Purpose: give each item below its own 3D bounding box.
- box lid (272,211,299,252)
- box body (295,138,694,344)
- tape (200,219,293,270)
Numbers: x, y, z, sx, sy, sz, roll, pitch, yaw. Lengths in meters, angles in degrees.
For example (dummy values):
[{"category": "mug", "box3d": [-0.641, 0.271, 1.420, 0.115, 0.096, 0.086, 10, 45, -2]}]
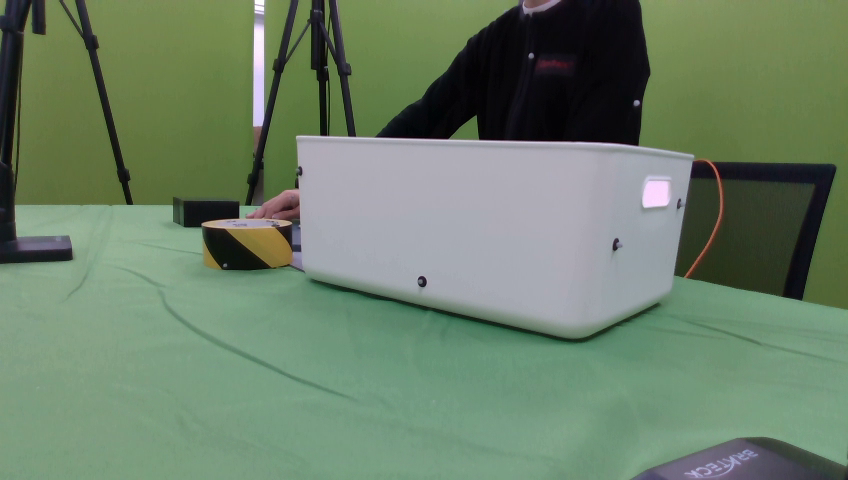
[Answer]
[{"category": "box lid", "box3d": [-0.146, -0.015, 1.064, 0.264, 0.015, 0.371, 3, 9, -6]}, {"category": "box body", "box3d": [0.065, -0.020, 0.653, 0.362, 0.160, 0.255, 9, 9, 36]}, {"category": "tape", "box3d": [-0.228, 0.004, 0.778, 0.117, 0.052, 0.117, 1, 8, 0]}]
